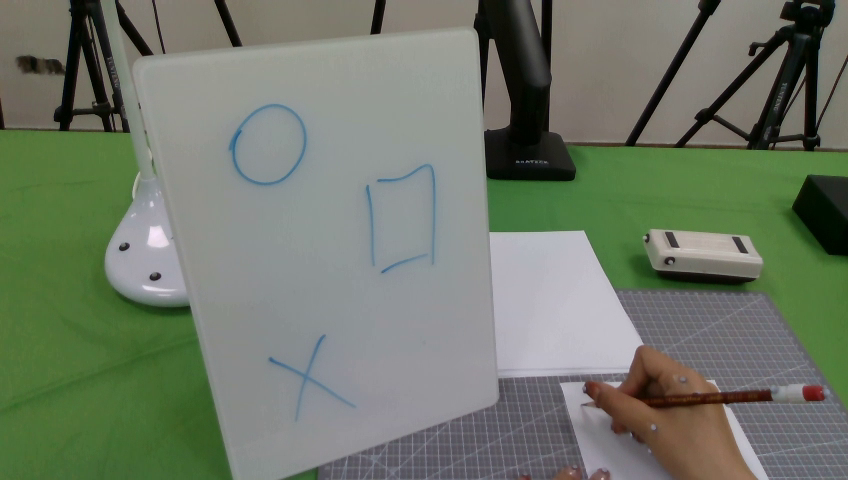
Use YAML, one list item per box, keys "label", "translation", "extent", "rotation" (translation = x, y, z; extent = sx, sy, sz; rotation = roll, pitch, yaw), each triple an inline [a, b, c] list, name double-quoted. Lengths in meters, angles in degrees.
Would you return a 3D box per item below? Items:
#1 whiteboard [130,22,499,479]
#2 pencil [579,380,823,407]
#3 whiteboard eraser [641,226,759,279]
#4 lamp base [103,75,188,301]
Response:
- label: "whiteboard"
  translation: [-0.075, -0.001, 0.480]
  extent: [0.218, 0.307, 0.142]
  rotation: [-13, 21, -19]
- label: "pencil"
  translation: [0.184, 0.114, 0.438]
  extent: [0.012, 0.193, 0.012]
  rotation: [11, 69, -31]
- label: "whiteboard eraser"
  translation: [0.300, 0.015, 0.664]
  extent: [0.113, 0.042, 0.055]
  rotation: [5, 38, 1]
- label: "lamp base"
  translation: [-0.253, -0.059, 0.592]
  extent: [0.177, 0.182, 0.160]
  rotation: [27, 43, 30]
